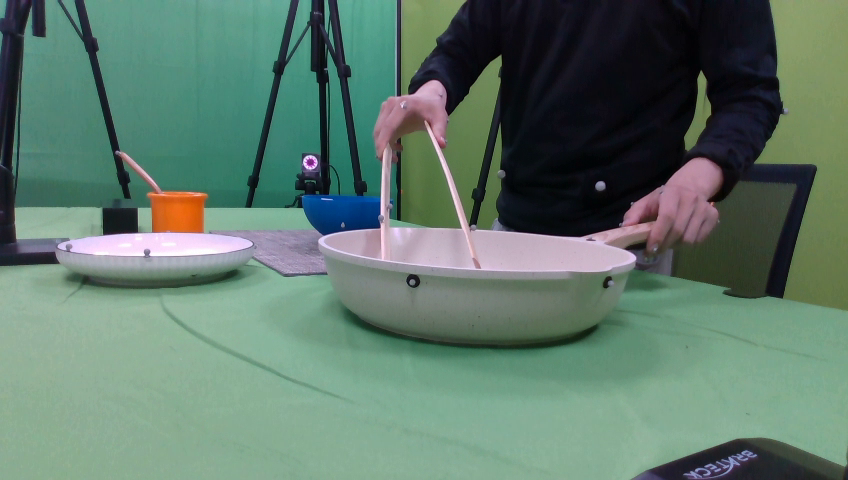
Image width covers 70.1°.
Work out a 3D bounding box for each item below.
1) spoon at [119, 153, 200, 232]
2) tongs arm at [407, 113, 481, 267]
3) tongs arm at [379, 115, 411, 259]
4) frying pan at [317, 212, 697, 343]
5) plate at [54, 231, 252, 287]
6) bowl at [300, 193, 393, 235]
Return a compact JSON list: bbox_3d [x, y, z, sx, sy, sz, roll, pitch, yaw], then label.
[{"bbox_3d":[-0.439,-0.077,1.001,0.021,0.193,0.042,-43,-6,22],"label":"spoon"},{"bbox_3d":[0.019,-0.075,0.717,0.028,0.028,0.386,-23,33,5],"label":"tongs arm"},{"bbox_3d":[-0.030,-0.060,0.722,0.051,0.026,0.383,-18,33,7],"label":"tongs arm"},{"bbox_3d":[0.133,0.013,0.630,0.490,0.102,0.305,-12,14,-31],"label":"frying pan"},{"bbox_3d":[-0.309,0.020,0.705,0.208,0.039,0.207,3,7,0],"label":"plate"},{"bbox_3d":[-0.128,-0.034,0.995,0.151,0.077,0.151,3,7,0],"label":"bowl"}]
